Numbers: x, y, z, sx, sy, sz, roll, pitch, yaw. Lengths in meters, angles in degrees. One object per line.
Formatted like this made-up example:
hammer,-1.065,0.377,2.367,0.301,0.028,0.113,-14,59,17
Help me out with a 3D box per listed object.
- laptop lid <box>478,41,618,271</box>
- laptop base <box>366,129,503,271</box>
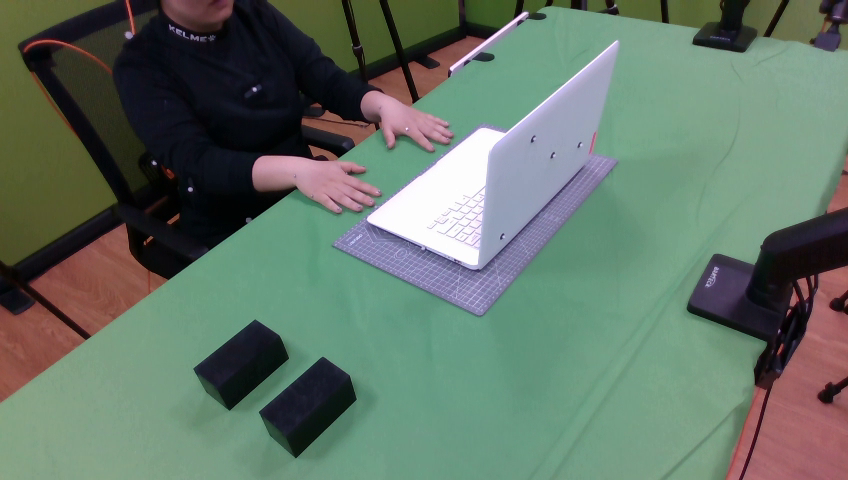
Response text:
laptop lid,0.191,-0.130,0.912,0.013,0.242,0.358,29,50,26
laptop base,0.099,-0.086,1.059,0.233,0.023,0.355,21,48,34
